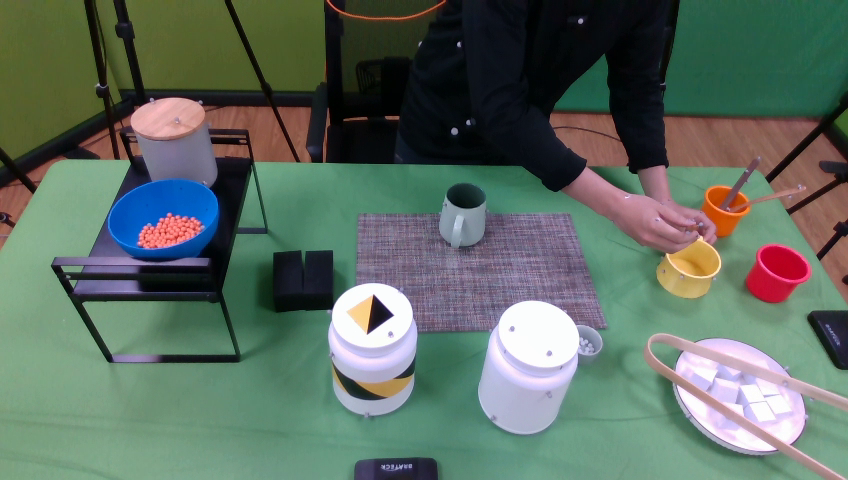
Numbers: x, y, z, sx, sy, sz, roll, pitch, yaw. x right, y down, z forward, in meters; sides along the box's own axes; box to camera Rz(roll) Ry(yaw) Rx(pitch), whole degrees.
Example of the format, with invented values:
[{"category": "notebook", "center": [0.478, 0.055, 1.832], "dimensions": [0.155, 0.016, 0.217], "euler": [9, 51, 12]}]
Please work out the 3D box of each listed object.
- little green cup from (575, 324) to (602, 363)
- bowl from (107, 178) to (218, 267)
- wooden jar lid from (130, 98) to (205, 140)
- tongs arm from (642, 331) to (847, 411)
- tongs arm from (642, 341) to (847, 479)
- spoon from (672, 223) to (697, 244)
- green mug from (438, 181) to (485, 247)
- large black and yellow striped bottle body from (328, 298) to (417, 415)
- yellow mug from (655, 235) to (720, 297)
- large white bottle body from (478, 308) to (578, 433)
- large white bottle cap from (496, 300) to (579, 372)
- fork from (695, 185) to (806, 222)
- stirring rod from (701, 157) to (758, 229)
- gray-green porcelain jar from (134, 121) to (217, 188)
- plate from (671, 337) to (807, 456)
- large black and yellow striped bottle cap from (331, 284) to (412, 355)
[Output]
[{"category": "little green cup", "center": [0.269, 0.179, 1.036], "dimensions": [0.061, 0.039, 0.061], "euler": [3, 45, -3]}, {"category": "bowl", "center": [-0.374, -0.014, 0.893], "dimensions": [0.151, 0.077, 0.150], "euler": [2, 46, -2]}, {"category": "wooden jar lid", "center": [-0.393, -0.183, 0.934], "dimensions": [0.108, 0.021, 0.107], "euler": [2, 43, -2]}, {"category": "tongs arm", "center": [0.546, 0.227, 0.968], "dimensions": [0.384, 0.026, 0.050], "euler": [22, 52, 13]}, {"category": "tongs arm", "center": [0.504, 0.278, 0.918], "dimensions": [0.386, 0.028, 0.028], "euler": [34, 59, 22]}, {"category": "spoon", "center": [0.438, -0.013, 1.010], "dimensions": [0.041, 0.194, 0.021], "euler": [-12, 78, 18]}, {"category": "green mug", "center": [0.071, -0.039, 1.177], "dimensions": [0.092, 0.105, 0.124], "euler": [12, 47, 7]}, {"category": "large black and yellow striped bottle body", "center": [-0.078, 0.167, 0.920], "dimensions": [0.131, 0.185, 0.130], "euler": [2, 46, -2]}, {"category": "yellow mug", "center": [0.508, 0.039, 1.163], "dimensions": [0.099, 0.064, 0.130], "euler": [23, 52, 19]}, {"category": "large white bottle body", "center": [0.156, 0.192, 0.913], "dimensions": [0.131, 0.185, 0.130], "euler": [2, 46, -2]}, {"category": "large white bottle cap", "center": [0.159, 0.133, 0.852], "dimensions": [0.115, 0.018, 0.114], "euler": [3, 46, -3]}, {"category": "fork", "center": [0.658, -0.074, 1.230], "dimensions": [0.207, 0.019, 0.028], "euler": [-23, 37, 37]}, {"category": "stirring rod", "center": [0.634, -0.096, 1.257], "dimensions": [0.014, 0.006, 0.176], "euler": [38, 97, 29]}, {"category": "gray-green porcelain jar", "center": [-0.397, -0.141, 0.980], "dimensions": [0.106, 0.127, 0.105], "euler": [2, 47, -2]}, {"category": "plate", "center": [0.504, 0.254, 0.984], "dimensions": [0.208, 0.039, 0.206], "euler": [2, 46, -2]}, {"category": "large black and yellow striped bottle cap", "center": [-0.073, 0.111, 0.858], "dimensions": [0.115, 0.019, 0.114], "euler": [2, 46, -1]}]
